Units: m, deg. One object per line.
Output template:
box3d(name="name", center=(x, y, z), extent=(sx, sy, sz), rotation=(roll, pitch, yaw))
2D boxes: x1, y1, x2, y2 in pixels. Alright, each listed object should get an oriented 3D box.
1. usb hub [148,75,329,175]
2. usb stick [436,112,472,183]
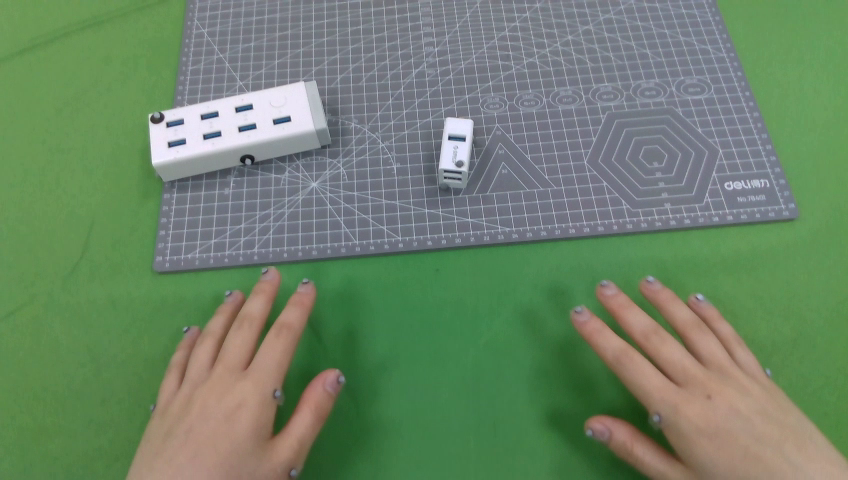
box3d(name="usb hub", center=(-0.137, -0.087, 0.449), extent=(0.125, 0.025, 0.049), rotation=(-13, 65, -6))
box3d(name="usb stick", center=(0.023, -0.073, 0.439), extent=(0.021, 0.027, 0.058), rotation=(6, 62, 6))
